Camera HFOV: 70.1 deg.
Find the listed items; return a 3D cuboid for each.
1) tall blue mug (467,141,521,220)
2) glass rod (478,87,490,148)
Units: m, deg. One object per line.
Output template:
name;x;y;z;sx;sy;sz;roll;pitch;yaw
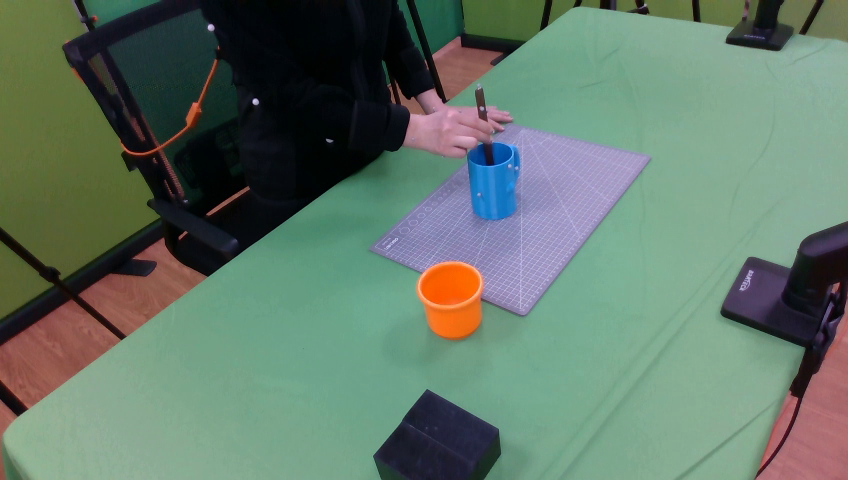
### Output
tall blue mug;0.120;-0.109;1.020;0.077;0.108;0.107;3;42;16
glass rod;0.105;-0.170;0.992;0.008;0.201;0.008;-7;51;9
